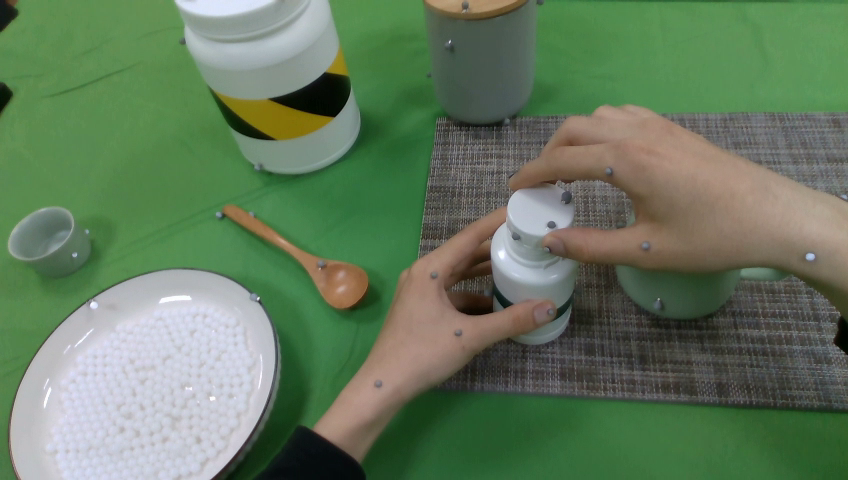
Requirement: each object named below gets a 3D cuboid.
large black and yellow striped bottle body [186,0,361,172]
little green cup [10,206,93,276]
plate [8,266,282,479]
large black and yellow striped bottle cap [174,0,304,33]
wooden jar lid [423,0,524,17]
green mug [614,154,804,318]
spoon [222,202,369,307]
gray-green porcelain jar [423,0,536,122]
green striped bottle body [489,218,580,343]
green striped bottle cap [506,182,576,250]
[{"bbox_3d":[-0.141,-0.169,0.576,0.130,0.186,0.129,-4,55,5],"label":"large black and yellow striped bottle body"},{"bbox_3d":[-0.349,0.003,0.573,0.061,0.039,0.061,-3,54,5],"label":"little green cup"},{"bbox_3d":[-0.210,0.116,0.477,0.209,0.038,0.207,-3,55,5],"label":"plate"},{"bbox_3d":[-0.152,-0.215,0.507,0.115,0.019,0.114,-3,54,4],"label":"large black and yellow striped bottle cap"},{"bbox_3d":[0.050,-0.230,0.550,0.108,0.021,0.107,-5,53,8],"label":"wooden jar lid"},{"bbox_3d":[0.213,0.002,0.456,0.125,0.106,0.092,10,56,13],"label":"green mug"},{"bbox_3d":[-0.123,0.005,0.552,0.192,0.022,0.041,30,83,24],"label":"spoon"},{"bbox_3d":[0.056,-0.191,0.599,0.106,0.128,0.105,-3,51,4],"label":"gray-green porcelain jar"},{"bbox_3d":[0.081,0.024,0.448,0.063,0.120,0.062,-4,55,6],"label":"green striped bottle body"},{"bbox_3d":[0.076,-0.016,0.393,0.044,0.020,0.044,-3,53,5],"label":"green striped bottle cap"}]
